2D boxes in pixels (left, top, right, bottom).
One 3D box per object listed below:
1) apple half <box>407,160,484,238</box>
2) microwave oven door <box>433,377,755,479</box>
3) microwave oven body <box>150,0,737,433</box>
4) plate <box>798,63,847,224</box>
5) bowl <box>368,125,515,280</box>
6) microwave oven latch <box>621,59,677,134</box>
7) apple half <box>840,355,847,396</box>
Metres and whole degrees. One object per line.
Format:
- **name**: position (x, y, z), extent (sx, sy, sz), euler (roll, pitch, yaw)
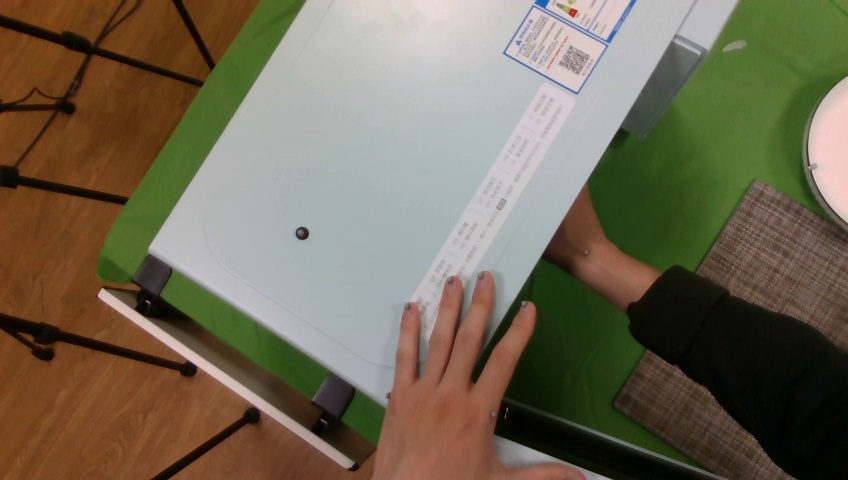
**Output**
- **apple half**: position (0.023, -0.038, 0.610), extent (0.081, 0.032, 0.081), euler (1, 98, 4)
- **microwave oven door**: position (0.189, 0.209, 0.534), extent (0.355, 0.244, 0.039), euler (18, 86, 8)
- **microwave oven body**: position (0.018, -0.097, 0.592), extent (0.325, 0.261, 0.441), euler (31, 88, 8)
- **plate**: position (0.510, -0.101, 0.656), extent (0.207, 0.039, 0.207), euler (-1, 84, 6)
- **bowl**: position (0.027, -0.035, 0.621), extent (0.151, 0.077, 0.151), euler (0, 90, 20)
- **microwave oven latch**: position (0.248, -0.159, 0.673), extent (0.030, 0.029, 0.079), euler (32, 88, 8)
- **apple half**: position (0.455, 0.137, 0.613), extent (0.053, 0.075, 0.080), euler (12, 88, 13)
